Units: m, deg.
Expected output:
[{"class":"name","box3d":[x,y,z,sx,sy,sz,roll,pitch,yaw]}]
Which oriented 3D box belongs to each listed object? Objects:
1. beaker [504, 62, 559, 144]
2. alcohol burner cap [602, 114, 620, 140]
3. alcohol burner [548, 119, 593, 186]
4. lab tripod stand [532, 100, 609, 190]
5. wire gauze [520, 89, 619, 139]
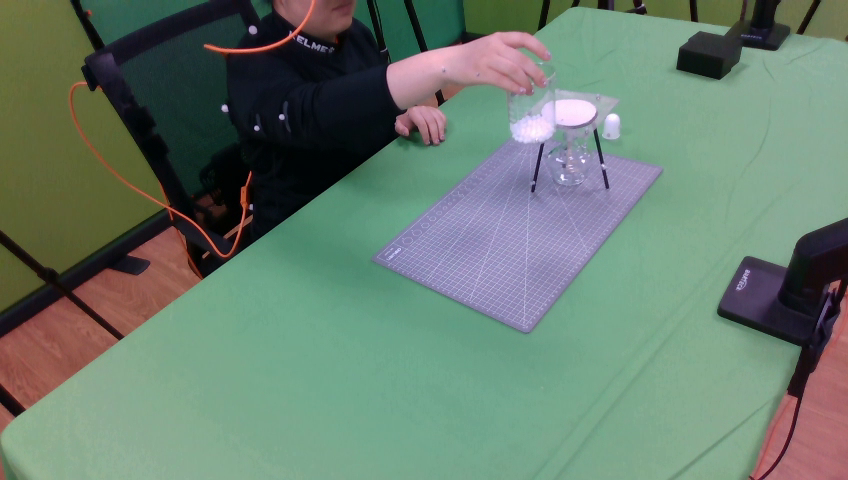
[{"class":"beaker","box3d":[0.156,-0.199,0.885,0.074,0.101,0.083,-34,42,-27]},{"class":"alcohol burner cap","box3d":[0.359,-0.217,1.157,0.034,0.048,0.033,-6,40,6]},{"class":"alcohol burner","box3d":[0.252,-0.154,1.042,0.078,0.120,0.077,-7,40,6]},{"class":"lab tripod stand","box3d":[0.251,-0.161,1.034,0.148,0.132,0.147,-4,39,4]},{"class":"wire gauze","box3d":[0.239,-0.213,0.994,0.124,0.011,0.122,24,49,32]}]
